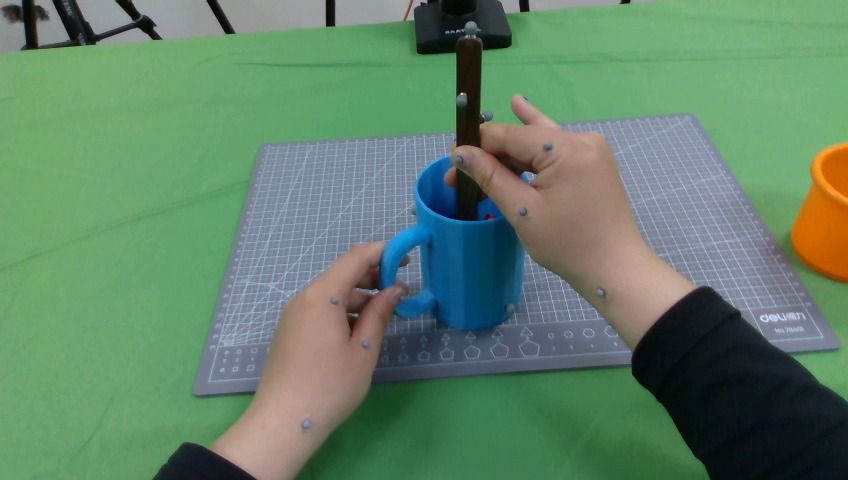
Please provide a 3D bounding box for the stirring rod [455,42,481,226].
[{"bbox_3d":[0.026,-0.035,0.366,0.014,0.178,0.005,5,42,8],"label":"stirring rod"}]

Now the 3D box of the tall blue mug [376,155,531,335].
[{"bbox_3d":[0.026,0.015,0.423,0.077,0.109,0.107,20,49,22],"label":"tall blue mug"}]
